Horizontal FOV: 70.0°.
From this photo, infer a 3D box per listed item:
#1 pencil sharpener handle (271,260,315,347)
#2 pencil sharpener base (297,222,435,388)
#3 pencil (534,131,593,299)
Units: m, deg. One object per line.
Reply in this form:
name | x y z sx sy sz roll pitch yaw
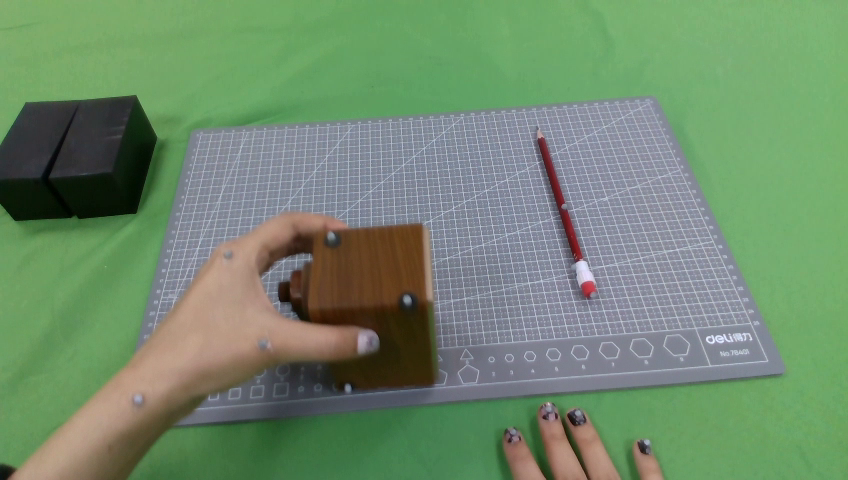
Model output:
pencil sharpener handle | -0.085 0.043 0.376 0.030 0.068 0.035 -4 40 1
pencil sharpener base | -0.033 0.045 0.388 0.077 0.108 0.061 -4 51 0
pencil | 0.112 -0.031 0.507 0.012 0.012 0.192 -5 49 -2
